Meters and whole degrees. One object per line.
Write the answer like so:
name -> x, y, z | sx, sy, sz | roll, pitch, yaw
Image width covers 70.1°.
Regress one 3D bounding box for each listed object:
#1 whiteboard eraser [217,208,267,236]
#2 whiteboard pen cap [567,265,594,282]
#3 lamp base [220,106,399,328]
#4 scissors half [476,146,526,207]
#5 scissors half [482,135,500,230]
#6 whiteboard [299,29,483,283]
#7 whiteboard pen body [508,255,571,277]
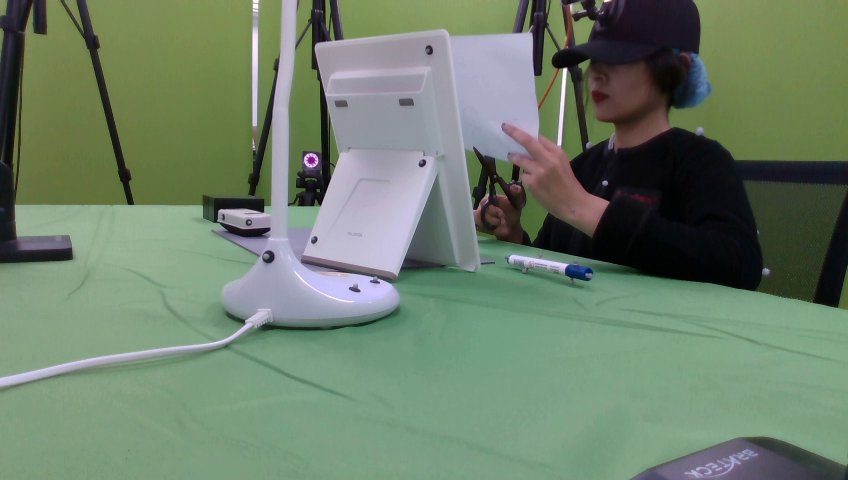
whiteboard eraser -> -0.309, -0.031, 1.044 | 0.056, 0.042, 0.112 | -2, 9, -40
whiteboard pen cap -> 0.185, 0.040, 0.722 | 0.018, 0.018, 0.033 | -3, 7, -33
lamp base -> -0.102, -0.023, 0.531 | 0.160, 0.180, 0.179 | 4, 10, 10
scissors half -> 0.136, -0.113, 1.066 | 0.012, 0.040, 0.176 | 27, -8, 46
scissors half -> 0.117, -0.098, 1.057 | 0.040, 0.175, 0.013 | -22, 30, -37
whiteboard -> -0.074, -0.082, 0.742 | 0.216, 0.305, 0.144 | 9, 29, 38
whiteboard pen body -> 0.155, 0.034, 0.772 | 0.017, 0.017, 0.140 | -2, 6, -31
